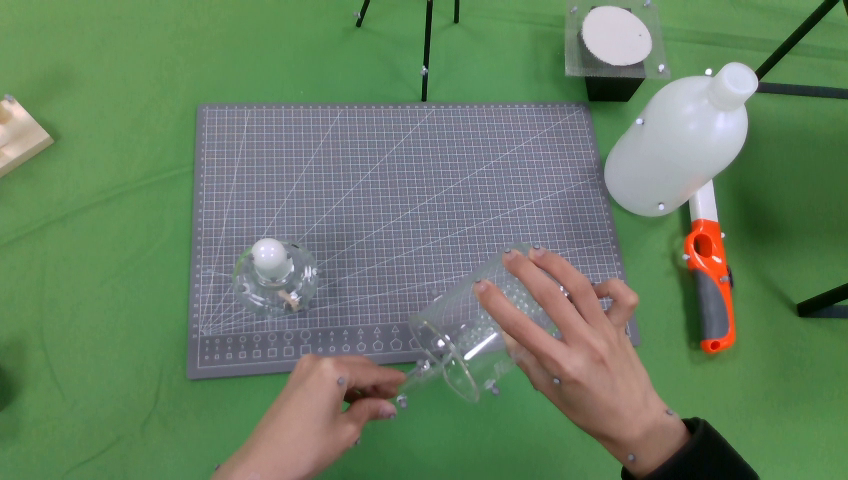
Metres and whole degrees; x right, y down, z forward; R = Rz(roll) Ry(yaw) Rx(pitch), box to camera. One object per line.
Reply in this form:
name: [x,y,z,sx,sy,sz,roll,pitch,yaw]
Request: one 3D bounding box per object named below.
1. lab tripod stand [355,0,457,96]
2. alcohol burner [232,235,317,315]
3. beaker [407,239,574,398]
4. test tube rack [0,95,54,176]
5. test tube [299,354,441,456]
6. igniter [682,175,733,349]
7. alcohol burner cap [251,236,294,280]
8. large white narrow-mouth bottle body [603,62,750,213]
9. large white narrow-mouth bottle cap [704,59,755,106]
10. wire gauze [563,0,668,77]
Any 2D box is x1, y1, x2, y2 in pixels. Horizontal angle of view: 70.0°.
lab tripod stand: [-0.006,-0.257,0.670,0.149,0.132,0.147,3,69,-8]
alcohol burner: [-0.136,0.026,0.551,0.078,0.119,0.077,4,67,-8]
beaker: [0.049,0.053,0.432,0.100,0.084,0.073,-36,76,-18]
test tube rack: [-0.485,-0.063,0.554,0.066,0.085,0.242,44,70,9]
test tube: [-0.046,0.133,0.479,0.150,0.017,0.017,-38,74,22]
igniter: [0.311,-0.014,0.678,0.057,0.025,0.274,10,68,-18]
alcohol burner cap: [-0.132,0.014,0.517,0.034,0.048,0.033,1,74,-4]
large white narrow-mouth bottle body: [0.262,-0.108,0.618,0.102,0.195,0.101,2,68,-6]
large white narrow-mouth bottle cap: [0.271,-0.141,0.540,0.038,0.024,0.037,3,69,-6]
wire gauze: [0.221,-0.243,0.711,0.122,0.011,0.124,5,68,-6]
